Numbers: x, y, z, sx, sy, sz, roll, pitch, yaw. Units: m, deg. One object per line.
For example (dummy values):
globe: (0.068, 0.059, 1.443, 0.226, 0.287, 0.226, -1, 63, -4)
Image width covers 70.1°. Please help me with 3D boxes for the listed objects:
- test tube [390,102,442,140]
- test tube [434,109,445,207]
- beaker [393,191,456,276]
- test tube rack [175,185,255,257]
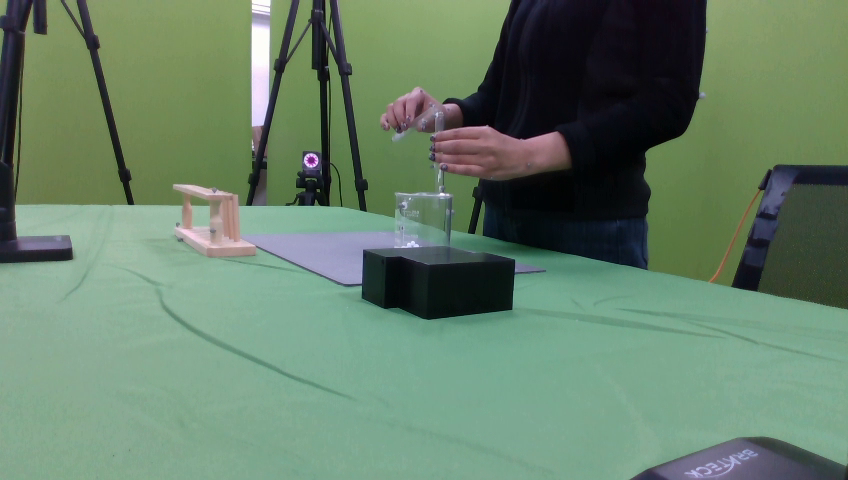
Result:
test tube: (-0.016, -0.192, 0.986, 0.017, 0.017, 0.149, -2, -9, -31)
test tube: (0.024, -0.124, 0.913, 0.017, 0.150, 0.017, 1, -6, 0)
beaker: (-0.003, -0.010, 0.749, 0.074, 0.100, 0.083, -3, 8, -40)
test tube rack: (-0.324, -0.035, 0.922, 0.067, 0.085, 0.241, -2, 9, -31)
